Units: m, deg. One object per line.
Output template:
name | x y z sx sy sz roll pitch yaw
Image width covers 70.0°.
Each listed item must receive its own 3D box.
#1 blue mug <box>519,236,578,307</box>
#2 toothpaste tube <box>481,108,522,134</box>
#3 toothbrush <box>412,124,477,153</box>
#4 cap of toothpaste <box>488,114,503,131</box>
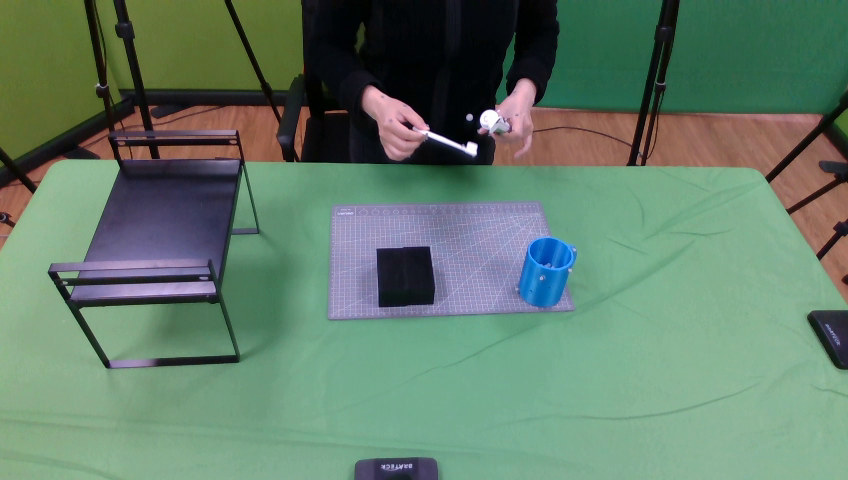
blue mug | 0.234 0.052 1.102 0.116 0.106 0.082 -23 52 -24
toothpaste tube | 0.143 -0.219 1.144 0.055 0.034 0.165 19 8 20
toothbrush | 0.032 -0.177 1.034 0.014 0.017 0.181 -7 24 -35
cap of toothpaste | 0.123 -0.206 1.056 0.011 0.037 0.037 41 54 8
